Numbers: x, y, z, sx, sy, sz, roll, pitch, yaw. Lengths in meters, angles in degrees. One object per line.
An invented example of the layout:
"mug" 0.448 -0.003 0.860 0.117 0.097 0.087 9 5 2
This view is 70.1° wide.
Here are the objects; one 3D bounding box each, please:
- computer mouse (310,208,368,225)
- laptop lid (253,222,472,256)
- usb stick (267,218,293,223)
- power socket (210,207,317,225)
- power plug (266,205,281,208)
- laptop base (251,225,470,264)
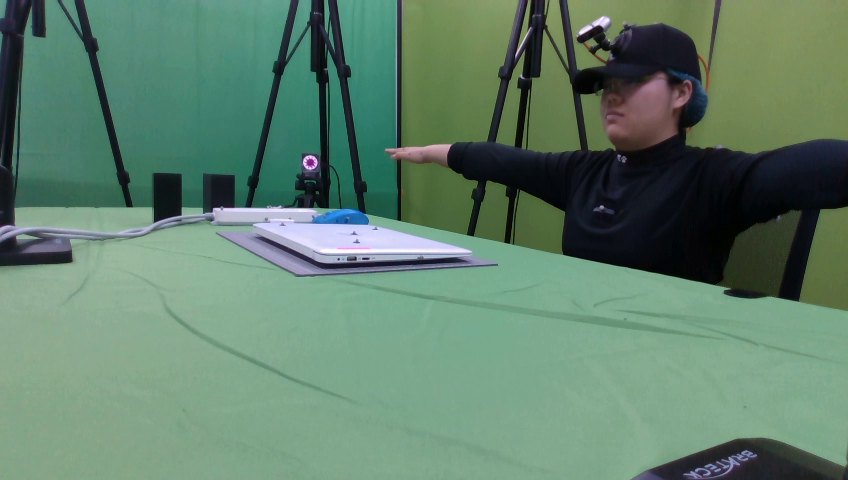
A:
"computer mouse" -0.179 -0.045 1.274 0.118 0.041 0.062 -6 13 -29
"laptop lid" -0.113 -0.005 0.955 0.243 0.013 0.355 1 7 -29
"usb stick" -0.272 -0.026 1.107 0.059 0.027 0.021 -3 11 -27
"power socket" -0.335 -0.051 1.282 0.228 0.032 0.072 -1 9 -28
"power plug" -0.344 -0.057 1.365 0.053 0.035 0.072 -21 -8 -14
"laptop base" -0.115 0.007 0.955 0.237 0.023 0.352 2 6 -31
